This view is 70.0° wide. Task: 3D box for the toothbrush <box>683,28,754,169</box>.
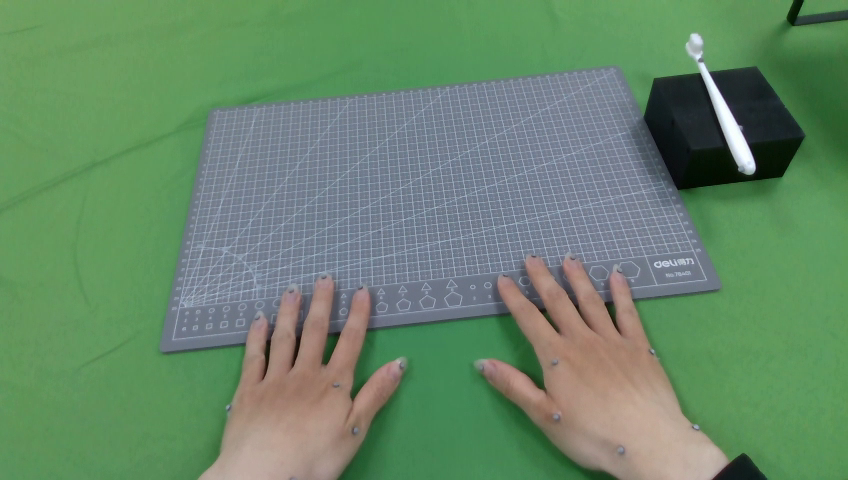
[{"bbox_3d":[0.262,-0.132,0.541,0.014,0.017,0.180,0,53,0],"label":"toothbrush"}]
